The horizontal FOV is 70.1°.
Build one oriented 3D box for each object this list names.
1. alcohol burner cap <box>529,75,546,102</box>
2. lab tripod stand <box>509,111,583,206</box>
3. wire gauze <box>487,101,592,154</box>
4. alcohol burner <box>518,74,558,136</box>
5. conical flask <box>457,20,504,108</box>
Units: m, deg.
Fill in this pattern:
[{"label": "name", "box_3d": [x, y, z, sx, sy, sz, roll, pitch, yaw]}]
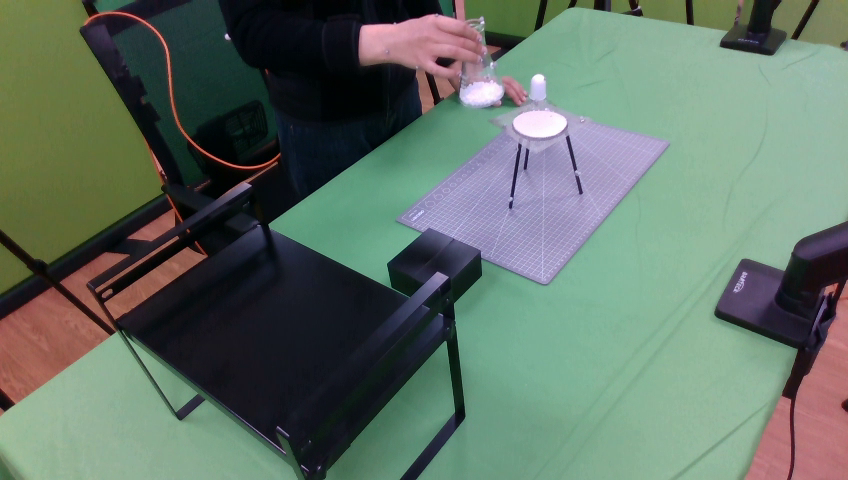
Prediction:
[{"label": "alcohol burner cap", "box_3d": [0.218, -0.292, 1.156, 0.034, 0.048, 0.033, -3, 46, 4]}, {"label": "lab tripod stand", "box_3d": [0.198, -0.139, 1.019, 0.148, 0.132, 0.147, -3, 39, 3]}, {"label": "wire gauze", "box_3d": [0.185, -0.188, 0.974, 0.122, 0.011, 0.124, -27, 44, -23]}, {"label": "alcohol burner", "box_3d": [0.222, -0.265, 1.179, 0.078, 0.119, 0.077, -5, 39, 5]}, {"label": "conical flask", "box_3d": [0.080, -0.272, 0.931, 0.075, 0.122, 0.075, -8, 40, 8]}]
